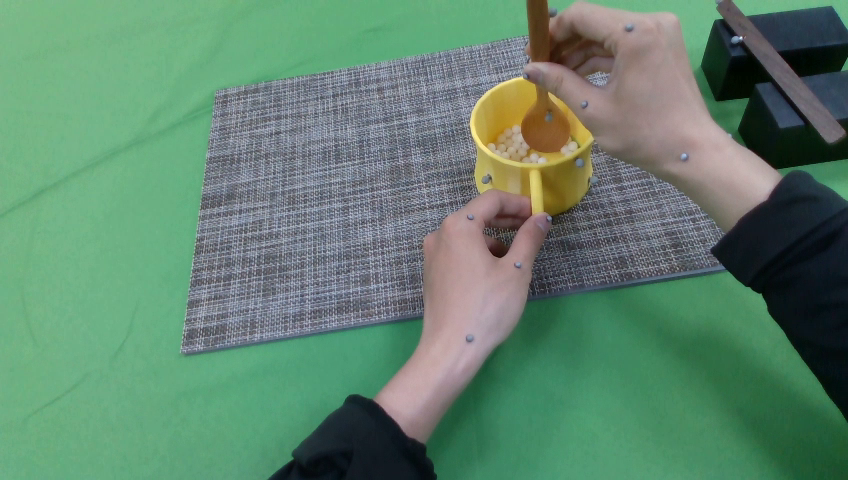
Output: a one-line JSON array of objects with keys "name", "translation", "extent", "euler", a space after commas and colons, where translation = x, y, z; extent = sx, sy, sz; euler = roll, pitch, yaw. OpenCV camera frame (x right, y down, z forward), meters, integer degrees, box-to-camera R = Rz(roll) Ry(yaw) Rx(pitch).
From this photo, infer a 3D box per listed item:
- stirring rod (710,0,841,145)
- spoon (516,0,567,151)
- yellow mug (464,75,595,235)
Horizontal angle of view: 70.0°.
[{"name": "stirring rod", "translation": [0.276, -0.141, 0.485], "extent": [0.014, 0.006, 0.174], "euler": [-36, 51, 27]}, {"name": "spoon", "translation": [0.082, -0.113, 0.434], "extent": [0.041, 0.195, 0.021], "euler": [6, 76, 14]}, {"name": "yellow mug", "translation": [0.085, -0.064, 0.485], "extent": [0.100, 0.064, 0.129], "euler": [-3, 57, 7]}]
